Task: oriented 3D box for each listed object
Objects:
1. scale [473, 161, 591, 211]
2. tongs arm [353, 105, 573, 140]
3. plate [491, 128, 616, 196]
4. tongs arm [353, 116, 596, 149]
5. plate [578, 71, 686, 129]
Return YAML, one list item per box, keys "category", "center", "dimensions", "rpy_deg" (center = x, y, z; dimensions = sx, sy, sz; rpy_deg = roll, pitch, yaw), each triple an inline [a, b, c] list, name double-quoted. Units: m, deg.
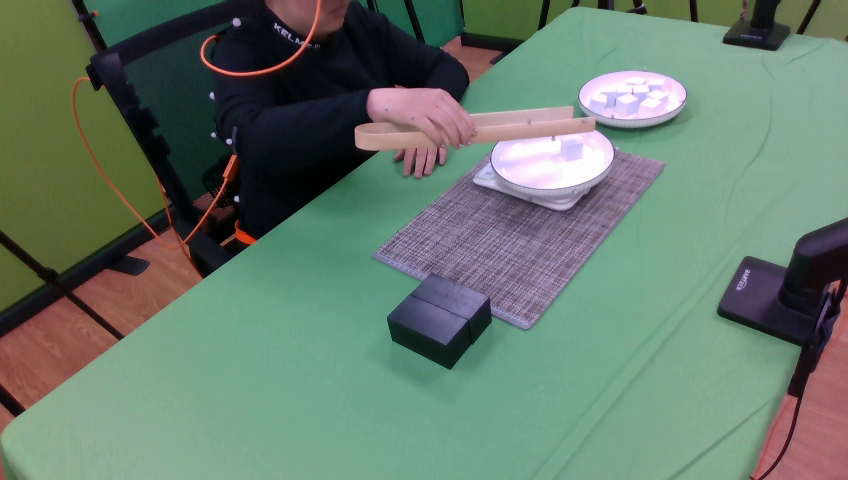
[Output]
- category: "scale"
  center: [0.202, -0.121, 1.074]
  dimensions: [0.199, 0.032, 0.149]
  rpy_deg: [23, 49, 33]
- category: "tongs arm"
  center: [0.073, -0.190, 0.977]
  dimensions: [0.389, 0.028, 0.028]
  rpy_deg: [-9, 34, -18]
- category: "plate"
  center: [0.221, -0.137, 1.038]
  dimensions: [0.207, 0.039, 0.206]
  rpy_deg: [-6, 41, 5]
- category: "tongs arm"
  center: [0.085, -0.171, 0.939]
  dimensions: [0.387, 0.026, 0.050]
  rpy_deg: [-8, 30, -16]
- category: "plate"
  center: [0.416, -0.280, 1.222]
  dimensions: [0.209, 0.038, 0.208]
  rpy_deg: [-5, 41, 5]
